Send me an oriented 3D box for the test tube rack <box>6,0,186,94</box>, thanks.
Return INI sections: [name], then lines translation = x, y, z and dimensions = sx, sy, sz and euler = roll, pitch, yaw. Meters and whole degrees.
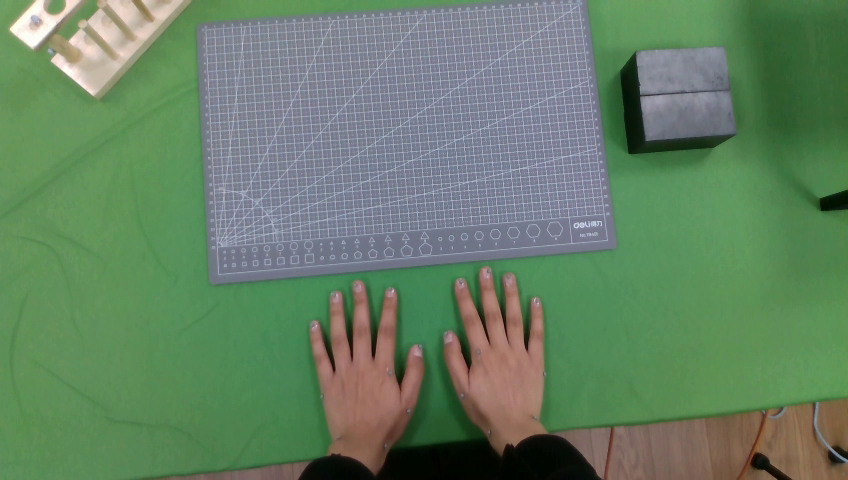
[test tube rack]
translation = -0.313, -0.280, 0.650
dimensions = 0.066, 0.085, 0.242
euler = 39, 83, 3
